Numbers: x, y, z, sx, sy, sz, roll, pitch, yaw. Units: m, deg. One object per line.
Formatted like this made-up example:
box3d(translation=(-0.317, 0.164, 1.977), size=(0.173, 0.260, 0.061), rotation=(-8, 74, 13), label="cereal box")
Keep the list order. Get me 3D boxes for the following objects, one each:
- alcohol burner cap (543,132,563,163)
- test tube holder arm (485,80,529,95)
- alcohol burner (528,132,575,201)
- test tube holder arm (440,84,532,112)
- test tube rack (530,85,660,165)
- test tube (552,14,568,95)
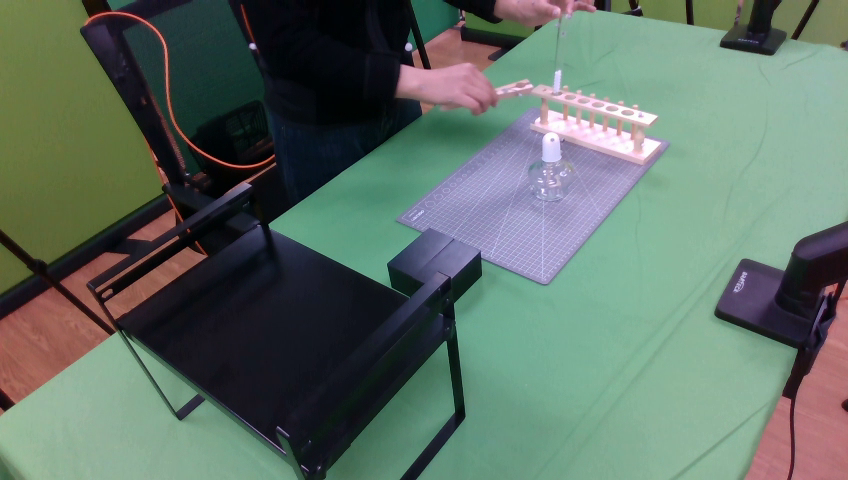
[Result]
box3d(translation=(0.211, -0.154, 0.994), size=(0.034, 0.048, 0.033), rotation=(-7, 35, 6), label="alcohol burner cap")
box3d(translation=(0.145, -0.262, 1.057), size=(0.088, 0.015, 0.010), rotation=(-21, 57, -24), label="test tube holder arm")
box3d(translation=(0.214, -0.126, 1.016), size=(0.078, 0.119, 0.077), rotation=(-5, 39, 5), label="alcohol burner")
box3d(translation=(0.108, -0.244, 1.037), size=(0.179, 0.015, 0.013), rotation=(-18, 55, -22), label="test tube holder arm")
box3d(translation=(0.320, -0.226, 1.140), size=(0.240, 0.085, 0.067), rotation=(27, 51, 34), label="test tube rack")
box3d(translation=(0.246, -0.334, 1.098), size=(0.017, 0.151, 0.017), rotation=(-2, 39, 2), label="test tube")
